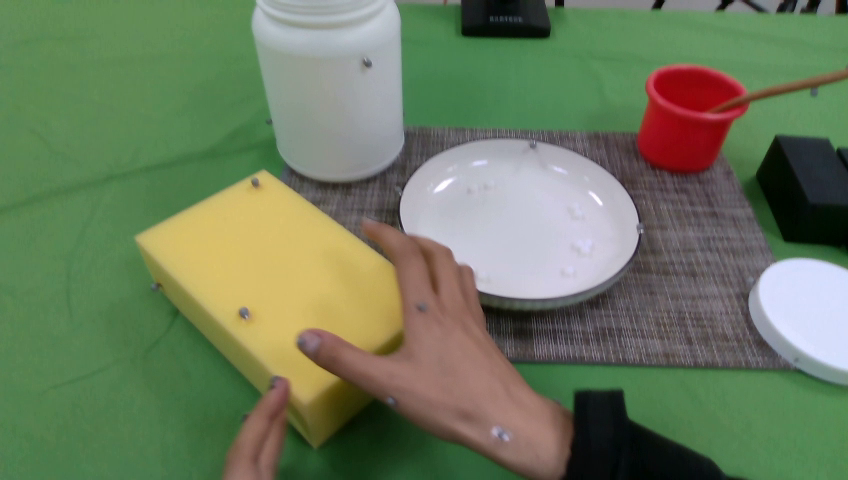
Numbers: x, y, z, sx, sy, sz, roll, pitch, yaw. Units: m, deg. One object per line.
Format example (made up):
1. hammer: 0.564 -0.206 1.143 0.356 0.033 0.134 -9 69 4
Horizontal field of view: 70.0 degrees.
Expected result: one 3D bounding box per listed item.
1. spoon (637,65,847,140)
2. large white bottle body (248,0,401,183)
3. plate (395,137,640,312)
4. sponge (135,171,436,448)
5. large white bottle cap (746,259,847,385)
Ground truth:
1. spoon: 0.291 -0.128 0.572 0.041 0.193 0.022 -44 107 -35
2. large white bottle body: -0.088 -0.161 0.567 0.130 0.186 0.129 0 46 0
3. plate: 0.079 -0.015 0.532 0.209 0.038 0.207 1 46 -1
4. sponge: -0.105 0.040 0.459 0.205 0.061 0.118 34 54 28
5. large white bottle cap: 0.317 0.062 0.479 0.115 0.018 0.113 2 46 -2
